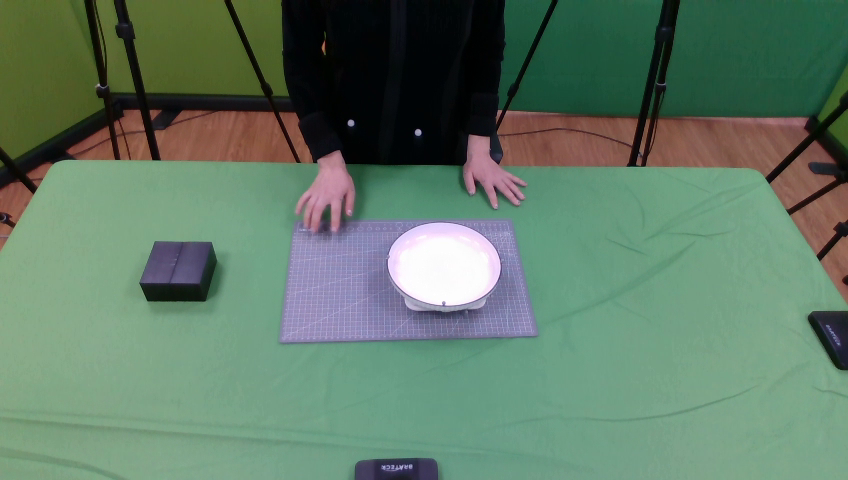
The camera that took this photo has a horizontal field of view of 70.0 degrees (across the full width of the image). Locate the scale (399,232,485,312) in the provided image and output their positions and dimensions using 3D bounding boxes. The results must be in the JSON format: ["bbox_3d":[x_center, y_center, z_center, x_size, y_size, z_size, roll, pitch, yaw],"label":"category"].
[{"bbox_3d":[0.031,0.050,1.141,0.149,0.032,0.199,-1,46,-6],"label":"scale"}]

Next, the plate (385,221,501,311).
[{"bbox_3d":[0.034,0.050,1.096,0.209,0.038,0.208,2,46,-2],"label":"plate"}]
